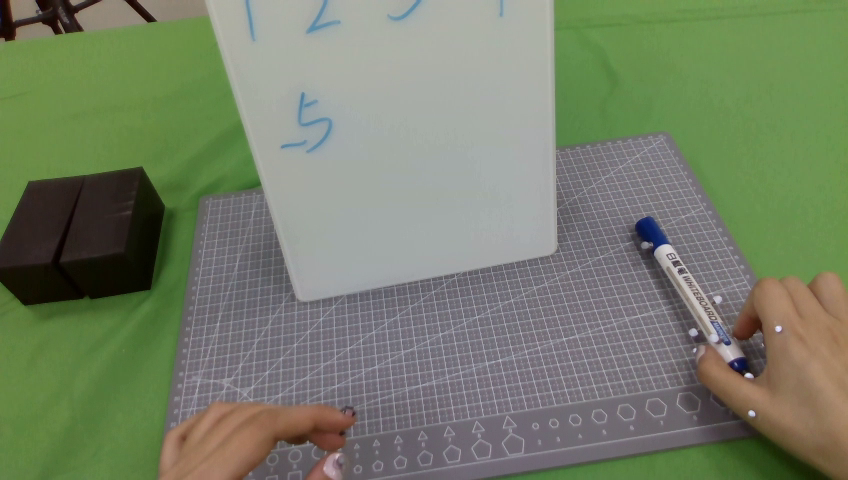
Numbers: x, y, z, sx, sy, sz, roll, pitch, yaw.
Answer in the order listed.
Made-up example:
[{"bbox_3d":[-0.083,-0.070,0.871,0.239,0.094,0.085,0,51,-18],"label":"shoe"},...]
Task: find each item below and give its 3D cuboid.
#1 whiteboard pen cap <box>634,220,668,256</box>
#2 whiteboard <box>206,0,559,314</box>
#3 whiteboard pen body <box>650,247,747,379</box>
[{"bbox_3d":[0.185,0.001,0.493,0.018,0.018,0.033,-11,48,-5],"label":"whiteboard pen cap"},{"bbox_3d":[-0.024,-0.124,0.470,0.217,0.308,0.142,-10,30,-3],"label":"whiteboard"},{"bbox_3d":[0.197,0.042,0.453,0.017,0.017,0.139,-12,47,-5],"label":"whiteboard pen body"}]
